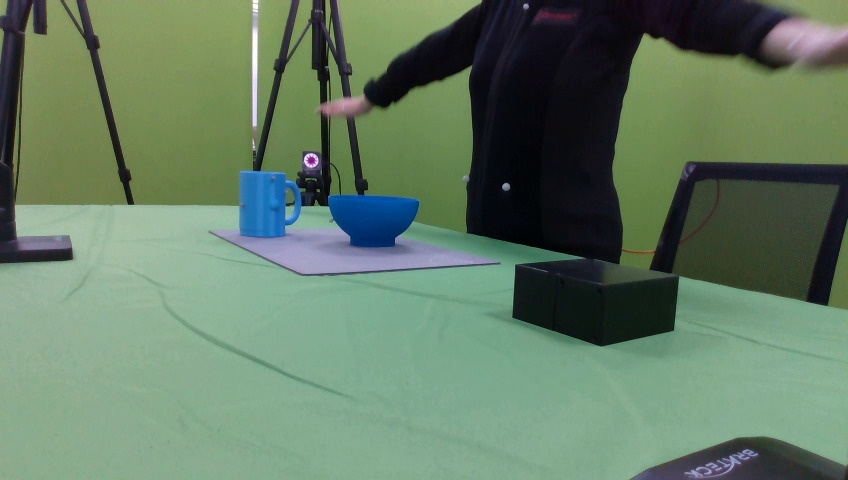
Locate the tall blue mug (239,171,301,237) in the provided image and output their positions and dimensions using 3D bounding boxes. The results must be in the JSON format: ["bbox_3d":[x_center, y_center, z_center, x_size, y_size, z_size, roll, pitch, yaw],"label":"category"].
[{"bbox_3d":[-0.273,-0.065,1.055,0.077,0.108,0.107,3,8,16],"label":"tall blue mug"}]

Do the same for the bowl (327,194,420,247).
[{"bbox_3d":[-0.083,-0.032,0.987,0.151,0.077,0.151,2,7,0],"label":"bowl"}]
